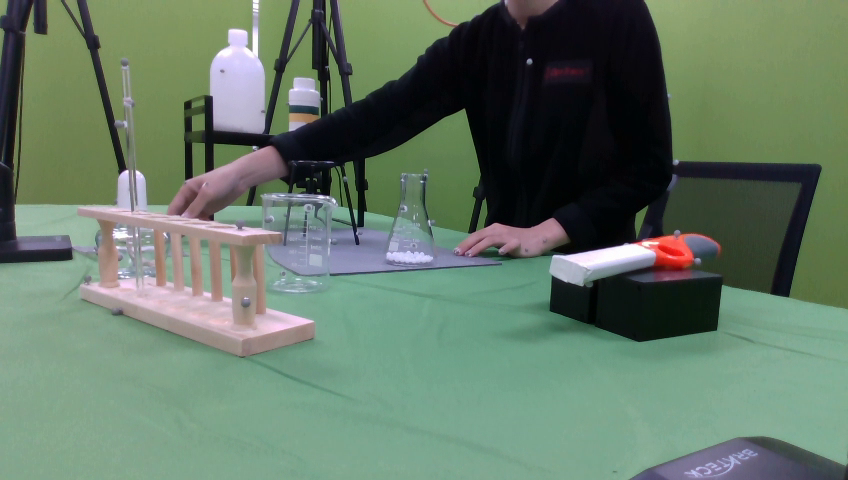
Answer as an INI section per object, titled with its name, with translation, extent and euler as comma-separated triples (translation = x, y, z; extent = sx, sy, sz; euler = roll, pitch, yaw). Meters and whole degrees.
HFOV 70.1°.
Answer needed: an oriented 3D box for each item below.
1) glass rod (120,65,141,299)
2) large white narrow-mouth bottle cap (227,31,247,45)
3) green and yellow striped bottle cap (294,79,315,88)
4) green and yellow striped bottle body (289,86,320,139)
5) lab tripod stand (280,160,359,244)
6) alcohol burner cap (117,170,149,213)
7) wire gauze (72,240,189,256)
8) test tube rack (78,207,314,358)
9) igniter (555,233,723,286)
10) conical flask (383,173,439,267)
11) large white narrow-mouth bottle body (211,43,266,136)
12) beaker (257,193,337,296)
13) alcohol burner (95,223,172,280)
[glass rod]
translation = -0.249, -0.047, 0.513
extent = 0.008, 0.199, 0.008
euler = -1, 4, 0
[large white narrow-mouth bottle cap]
translation = -0.361, -0.389, 1.166
extent = 0.038, 0.024, 0.037
euler = 1, 7, 0
[green and yellow striped bottle cap]
translation = -0.248, -0.323, 1.256
extent = 0.045, 0.020, 0.045
euler = 4, 9, 0
[green and yellow striped bottle body]
translation = -0.250, -0.272, 1.261
extent = 0.063, 0.119, 0.063
euler = 3, 7, 0
[lab tripod stand]
translation = -0.176, -0.062, 0.973
extent = 0.148, 0.131, 0.148
euler = 1, 7, 0
[alcohol burner cap]
translation = -0.320, -0.052, 0.661
extent = 0.034, 0.048, 0.034
euler = -3, 0, 0
[wire gauze]
translation = -0.399, 0.013, 0.820
extent = 0.126, 0.011, 0.121
euler = -3, 8, -37
[test tube rack]
translation = -0.197, 0.023, 0.499
extent = 0.241, 0.085, 0.067
euler = 8, 9, 37
[igniter]
translation = 0.214, 0.015, 0.570
extent = 0.278, 0.025, 0.057
euler = -5, 22, -44
[conical flask]
translation = -0.016, -0.028, 0.808
extent = 0.075, 0.122, 0.075
euler = 2, 8, 0
[large white narrow-mouth bottle body]
translation = -0.361, -0.302, 1.176
extent = 0.102, 0.194, 0.102
euler = 1, 7, 0
[beaker]
translation = -0.130, 0.004, 0.628
extent = 0.084, 0.100, 0.074
euler = 5, 8, 15
[alcohol burner]
translation = -0.320, -0.016, 0.667
extent = 0.078, 0.119, 0.078
euler = 0, 7, 0
